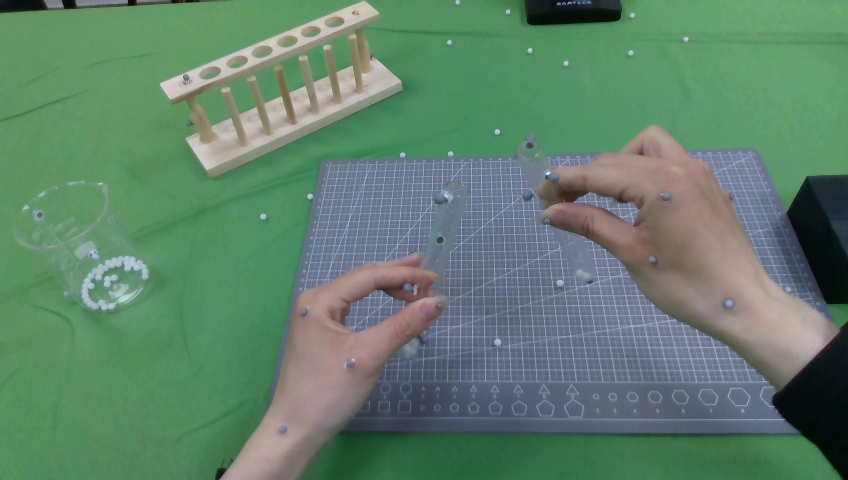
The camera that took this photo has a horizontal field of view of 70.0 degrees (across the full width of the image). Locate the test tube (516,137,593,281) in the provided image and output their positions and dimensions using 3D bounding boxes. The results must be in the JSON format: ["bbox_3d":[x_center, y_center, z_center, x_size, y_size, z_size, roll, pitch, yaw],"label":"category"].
[{"bbox_3d":[0.089,-0.013,0.397,0.017,0.152,0.017,-14,52,20],"label":"test tube"}]

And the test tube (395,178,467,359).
[{"bbox_3d":[0.002,0.025,0.397,0.017,0.151,0.017,11,36,-7],"label":"test tube"}]

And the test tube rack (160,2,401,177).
[{"bbox_3d":[-0.148,-0.169,0.667,0.242,0.086,0.066,-30,54,-18],"label":"test tube rack"}]

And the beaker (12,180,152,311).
[{"bbox_3d":[-0.288,0.007,0.526,0.073,0.101,0.083,21,55,20],"label":"beaker"}]
